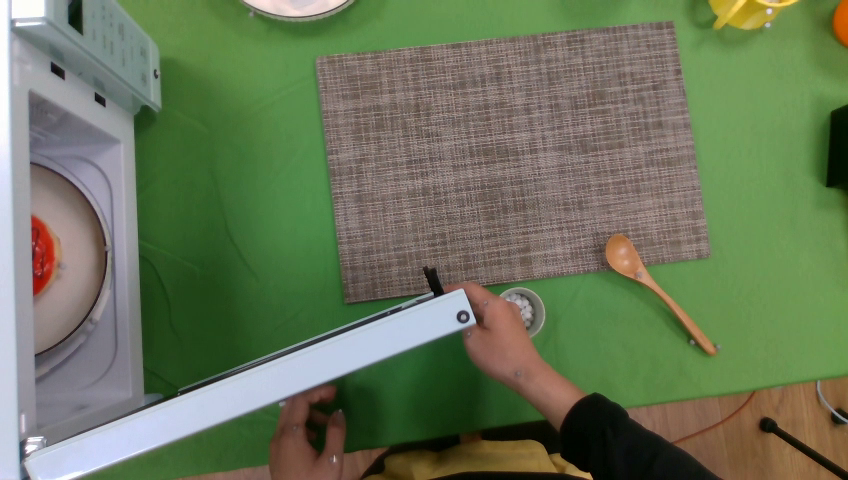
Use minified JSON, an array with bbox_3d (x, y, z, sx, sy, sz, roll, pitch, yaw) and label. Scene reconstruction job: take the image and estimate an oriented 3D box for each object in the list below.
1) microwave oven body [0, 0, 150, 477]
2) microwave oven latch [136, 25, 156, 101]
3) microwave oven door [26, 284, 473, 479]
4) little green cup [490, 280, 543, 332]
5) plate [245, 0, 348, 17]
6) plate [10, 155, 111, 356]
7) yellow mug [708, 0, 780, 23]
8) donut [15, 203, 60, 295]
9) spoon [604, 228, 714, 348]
[{"bbox_3d":[-0.453,-0.022,0.576,0.326,0.260,0.441,-4,87,-4],"label":"microwave oven body"},{"bbox_3d":[-0.323,-0.201,0.690,0.030,0.029,0.079,-2,87,-3],"label":"microwave oven latch"},{"bbox_3d":[-0.134,0.119,0.578,0.356,0.244,0.039,-21,86,-4],"label":"microwave oven door"},{"bbox_3d":[0.106,0.078,0.712,0.061,0.039,0.061,0,83,-1],"label":"little green cup"},{"bbox_3d":[-0.153,-0.366,0.729,0.208,0.039,0.207,0,86,-3],"label":"plate"},{"bbox_3d":[-0.429,0.017,0.627,0.209,0.038,0.208,0,86,-4],"label":"plate"},{"bbox_3d":[0.396,-0.317,0.739,0.100,0.064,0.131,41,86,1],"label":"yellow mug"},{"bbox_3d":[-0.425,0.009,0.617,0.099,0.048,0.099,0,92,0],"label":"donut"},{"bbox_3d":[0.283,0.061,0.728,0.194,0.021,0.041,46,69,-1],"label":"spoon"}]
